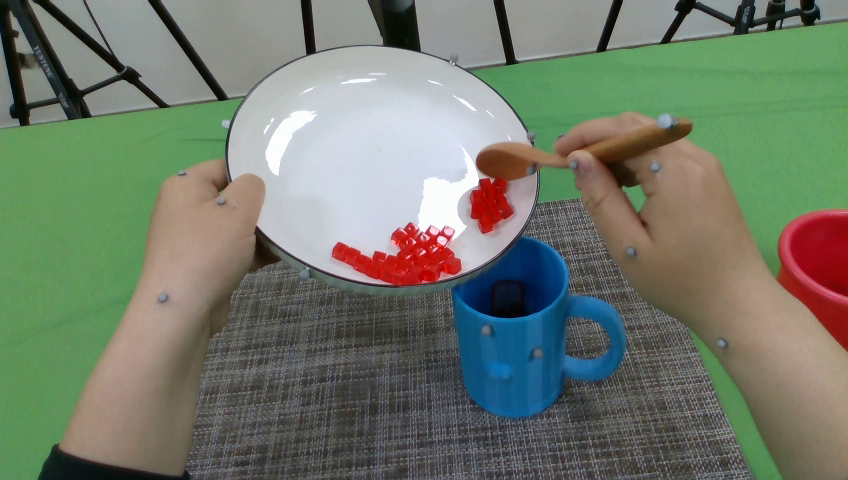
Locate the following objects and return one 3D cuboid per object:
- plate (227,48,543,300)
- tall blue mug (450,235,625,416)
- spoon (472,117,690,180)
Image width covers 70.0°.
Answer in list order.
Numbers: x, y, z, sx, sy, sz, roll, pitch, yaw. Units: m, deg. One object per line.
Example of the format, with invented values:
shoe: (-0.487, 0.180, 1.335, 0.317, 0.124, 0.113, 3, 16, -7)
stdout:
plate: (-0.024, -0.048, 0.414, 0.208, 0.039, 0.205, 5, 57, -7)
tall blue mug: (0.076, 0.058, 0.421, 0.107, 0.109, 0.077, -11, 42, -2)
spoon: (0.078, -0.047, 0.342, 0.042, 0.021, 0.192, 20, -2, -19)
